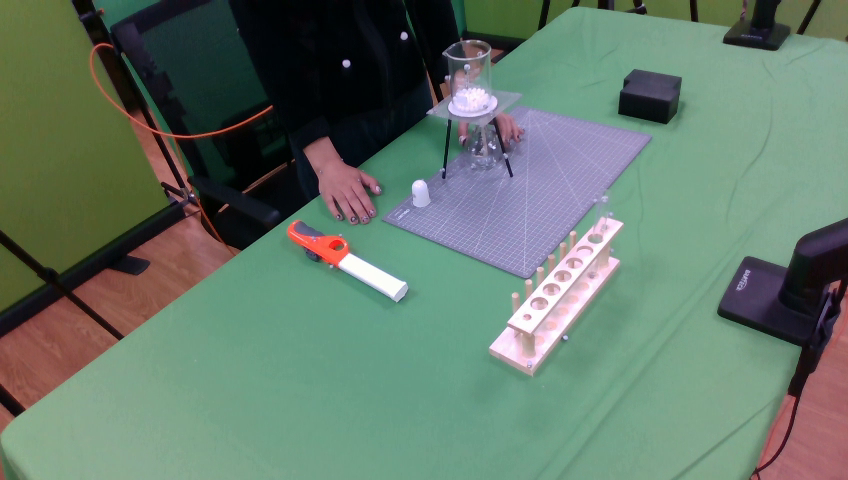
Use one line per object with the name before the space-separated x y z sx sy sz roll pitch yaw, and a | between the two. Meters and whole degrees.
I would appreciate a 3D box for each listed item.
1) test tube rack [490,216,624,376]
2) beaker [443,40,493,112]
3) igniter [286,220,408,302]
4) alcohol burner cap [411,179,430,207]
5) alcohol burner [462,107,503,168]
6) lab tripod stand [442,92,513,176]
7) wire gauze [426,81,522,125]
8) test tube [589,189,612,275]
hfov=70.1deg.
test tube rack | 0.184 0.064 0.822 0.066 0.085 0.243 24 50 33
beaker | 0.076 -0.275 1.023 0.083 0.101 0.074 5 42 16
igniter | -0.134 0.028 0.969 0.274 0.025 0.057 26 61 35
alcohol burner cap | -0.008 -0.085 1.063 0.034 0.048 0.033 -4 40 4
alcohol burner | 0.107 -0.193 1.113 0.078 0.119 0.077 -4 42 4
lab tripod stand | 0.096 -0.190 1.096 0.148 0.132 0.147 -4 40 4
wire gauze | 0.088 -0.237 1.051 0.120 0.011 0.125 23 47 29
test tube | 0.238 -0.007 0.818 0.017 0.151 0.017 -3 43 4
